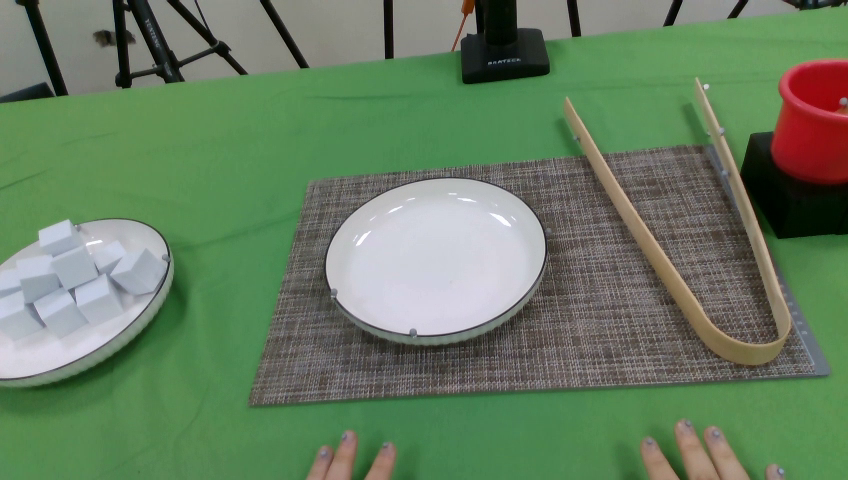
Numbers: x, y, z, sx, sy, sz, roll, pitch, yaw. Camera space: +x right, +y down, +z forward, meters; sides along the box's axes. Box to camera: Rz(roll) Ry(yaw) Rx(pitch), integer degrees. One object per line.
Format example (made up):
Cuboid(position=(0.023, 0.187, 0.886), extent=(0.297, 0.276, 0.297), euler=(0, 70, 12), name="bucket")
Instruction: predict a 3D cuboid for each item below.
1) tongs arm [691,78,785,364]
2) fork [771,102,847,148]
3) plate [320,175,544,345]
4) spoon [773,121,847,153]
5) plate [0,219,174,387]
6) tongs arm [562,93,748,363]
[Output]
Cuboid(position=(0.284, -0.048, 0.592), extent=(0.050, 0.027, 0.381), euler=(-1, 45, 7), name="tongs arm")
Cuboid(position=(0.397, -0.136, 0.506), extent=(0.207, 0.019, 0.028), euler=(-37, 10, 32), name="fork")
Cuboid(position=(0.008, 0.018, 0.572), extent=(0.207, 0.039, 0.205), euler=(-5, 44, 5), name="plate")
Cuboid(position=(0.368, -0.104, 0.478), extent=(0.041, 0.193, 0.021), euler=(-29, 89, -25), name="spoon")
Cuboid(position=(-0.348, 0.060, 0.600), extent=(0.209, 0.038, 0.207), euler=(-5, 43, 5), name="plate")
Cuboid(position=(0.202, -0.039, 0.599), extent=(0.028, 0.028, 0.383), euler=(-8, 44, -5), name="tongs arm")
